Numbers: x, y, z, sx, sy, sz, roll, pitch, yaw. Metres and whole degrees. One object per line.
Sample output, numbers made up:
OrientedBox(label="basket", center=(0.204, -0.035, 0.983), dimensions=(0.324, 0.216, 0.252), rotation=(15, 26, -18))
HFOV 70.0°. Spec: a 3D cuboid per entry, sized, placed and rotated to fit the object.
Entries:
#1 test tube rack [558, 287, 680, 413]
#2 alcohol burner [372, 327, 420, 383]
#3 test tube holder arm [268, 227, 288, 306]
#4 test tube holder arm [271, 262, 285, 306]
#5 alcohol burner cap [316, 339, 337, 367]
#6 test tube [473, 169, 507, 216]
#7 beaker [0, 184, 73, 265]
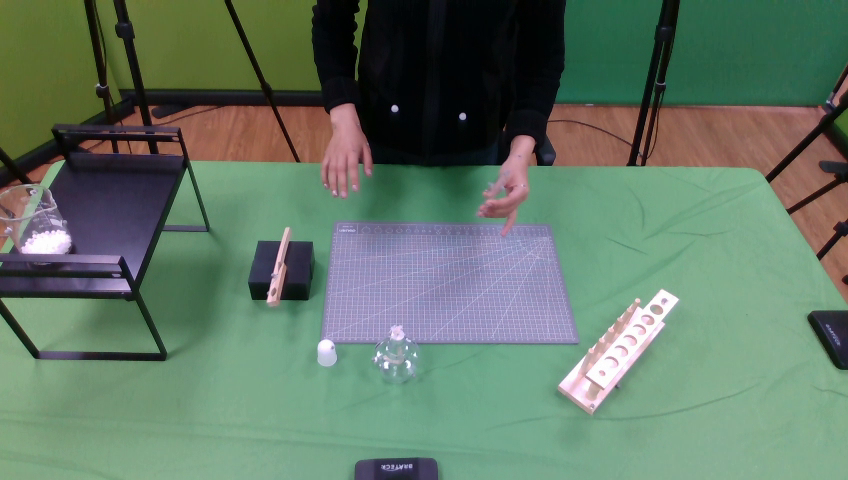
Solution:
OrientedBox(label="test tube rack", center=(0.326, 0.170, 1.009), dimensions=(0.066, 0.085, 0.242), rotation=(36, 54, 27))
OrientedBox(label="alcohol burner", center=(-0.044, 0.175, 0.961), dimensions=(0.078, 0.120, 0.077), rotation=(1, 48, -1))
OrientedBox(label="test tube holder arm", center=(-0.258, 0.043, 1.071), dimensions=(0.013, 0.015, 0.177), rotation=(-5, 46, 1))
OrientedBox(label="test tube holder arm", center=(-0.250, 0.075, 1.040), dimensions=(0.010, 0.015, 0.087), rotation=(-5, 46, 2))
OrientedBox(label="alcohol burner cap", center=(-0.161, 0.182, 0.995), dimensions=(0.034, 0.048, 0.033), rotation=(2, 47, -1))
OrientedBox(label="test tube", center=(0.111, -0.078, 1.039), dimensions=(0.017, 0.150, 0.017), rotation=(5, 66, -11))
OrientedBox(label="beaker", center=(-0.556, -0.019, 0.871), dimensions=(0.084, 0.101, 0.073), rotation=(3, 47, -2))
